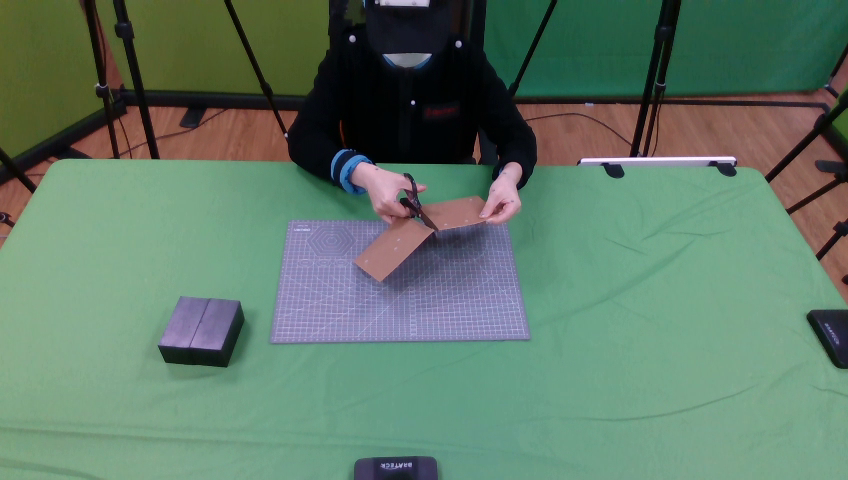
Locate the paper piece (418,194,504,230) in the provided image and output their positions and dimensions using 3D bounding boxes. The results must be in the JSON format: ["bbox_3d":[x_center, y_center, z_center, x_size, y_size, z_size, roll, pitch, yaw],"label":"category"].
[{"bbox_3d":[0.063,-0.055,1.144,0.138,0.009,0.135,-7,30,-15],"label":"paper piece"}]

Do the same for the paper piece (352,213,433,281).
[{"bbox_3d":[-0.061,0.009,1.113,0.135,0.004,0.134,-43,30,-10],"label":"paper piece"}]

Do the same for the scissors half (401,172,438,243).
[{"bbox_3d":[-0.008,-0.062,1.114,0.013,0.040,0.174,-10,56,-22],"label":"scissors half"}]

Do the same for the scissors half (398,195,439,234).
[{"bbox_3d":[-0.011,-0.043,1.127,0.013,0.040,0.174,-6,23,-25],"label":"scissors half"}]
